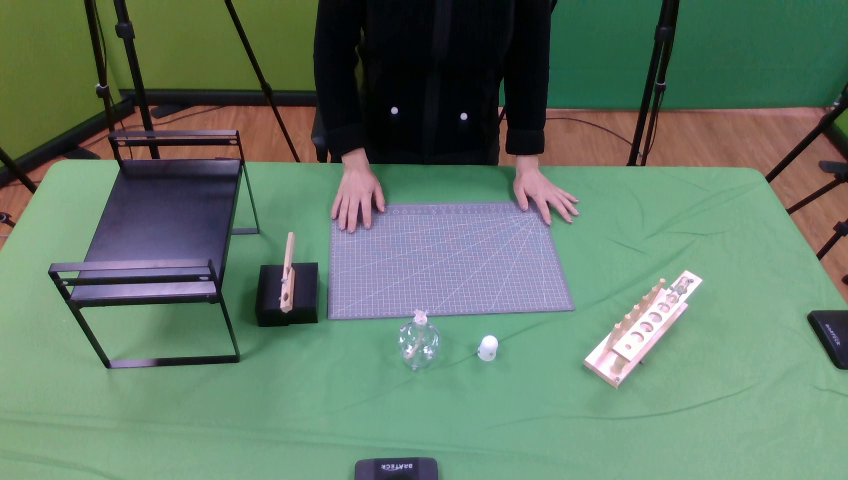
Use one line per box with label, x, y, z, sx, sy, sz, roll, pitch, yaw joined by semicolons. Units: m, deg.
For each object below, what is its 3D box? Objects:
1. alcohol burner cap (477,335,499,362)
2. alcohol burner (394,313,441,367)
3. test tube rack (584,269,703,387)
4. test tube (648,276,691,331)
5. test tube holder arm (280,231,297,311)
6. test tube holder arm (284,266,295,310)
alcohol burner cap;0.109;0.179;1.017;0.034;0.048;0.033;4;50;-4
alcohol burner;-0.009;0.154;0.985;0.078;0.119;0.077;3;48;-3
test tube rack;0.381;0.139;1.046;0.066;0.085;0.242;37;54;28
test tube;0.405;0.108;1.007;0.017;0.151;0.017;3;51;-4
test tube holder arm;-0.238;0.050;1.065;0.013;0.015;0.177;-12;46;6
test tube holder arm;-0.229;0.081;1.034;0.010;0.015;0.087;-13;46;6
